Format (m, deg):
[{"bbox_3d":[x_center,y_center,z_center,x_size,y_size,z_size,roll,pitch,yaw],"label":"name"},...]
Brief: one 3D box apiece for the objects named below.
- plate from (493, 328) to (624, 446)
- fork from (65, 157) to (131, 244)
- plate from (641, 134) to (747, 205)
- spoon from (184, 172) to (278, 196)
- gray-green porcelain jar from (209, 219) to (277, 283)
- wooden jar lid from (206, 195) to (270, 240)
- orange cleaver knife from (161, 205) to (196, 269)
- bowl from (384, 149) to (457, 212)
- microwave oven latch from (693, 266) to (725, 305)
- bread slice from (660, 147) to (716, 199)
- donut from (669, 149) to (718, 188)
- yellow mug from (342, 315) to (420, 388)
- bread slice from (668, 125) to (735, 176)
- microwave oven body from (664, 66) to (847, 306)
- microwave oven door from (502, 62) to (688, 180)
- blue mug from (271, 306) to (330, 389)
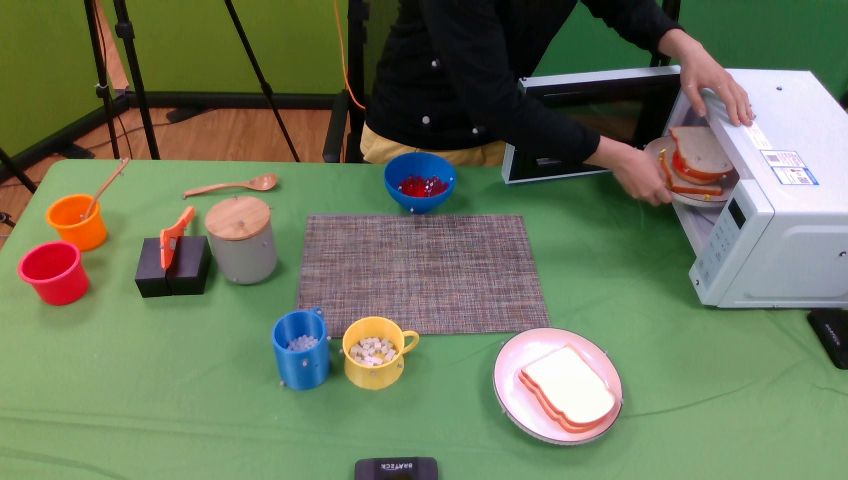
[{"bbox_3d":[0.213,0.236,0.974,0.208,0.039,0.206,2,46,-2],"label":"plate"},{"bbox_3d":[-0.609,-0.074,1.133,0.207,0.019,0.028,-52,51,10],"label":"fork"},{"bbox_3d":[0.543,-0.138,1.230,0.209,0.038,0.208,3,46,-3],"label":"plate"},{"bbox_3d":[-0.406,-0.117,1.275,0.194,0.022,0.041,-8,65,-12],"label":"spoon"},{"bbox_3d":[-0.323,0.007,1.092,0.106,0.127,0.105,2,46,-2],"label":"gray-green porcelain jar"},{"bbox_3d":[-0.319,-0.036,1.046,0.108,0.021,0.107,1,44,0],"label":"wooden jar lid"},{"bbox_3d":[-0.454,-0.010,1.129,0.012,0.077,0.210,-2,20,-5],"label":"orange cleaver knife"},{"bbox_3d":[-0.009,-0.112,1.262,0.151,0.077,0.150,2,46,-2],"label":"bowl"},{"bbox_3d":[0.523,0.082,1.116,0.030,0.029,0.078,2,46,0],"label":"microwave oven latch"},{"bbox_3d":[0.533,-0.139,1.232,0.105,0.019,0.131,8,54,5],"label":"bread slice"},{"bbox_3d":[0.536,-0.148,1.203,0.099,0.048,0.098,0,59,0],"label":"donut"},{"bbox_3d":[-0.068,0.177,0.990,0.131,0.064,0.099,-15,50,-20],"label":"yellow mug"},{"bbox_3d":[0.551,-0.178,1.193,0.107,0.018,0.133,-2,52,-2],"label":"bread slice"},{"bbox_3d":[0.669,-0.111,1.176,0.326,0.261,0.439,0,46,-3],"label":"microwave oven body"},{"bbox_3d":[0.353,-0.247,1.276,0.356,0.245,0.039,-8,48,-11],"label":"microwave oven door"},{"bbox_3d":[-0.188,0.163,0.969,0.082,0.106,0.116,15,47,10],"label":"blue mug"}]
